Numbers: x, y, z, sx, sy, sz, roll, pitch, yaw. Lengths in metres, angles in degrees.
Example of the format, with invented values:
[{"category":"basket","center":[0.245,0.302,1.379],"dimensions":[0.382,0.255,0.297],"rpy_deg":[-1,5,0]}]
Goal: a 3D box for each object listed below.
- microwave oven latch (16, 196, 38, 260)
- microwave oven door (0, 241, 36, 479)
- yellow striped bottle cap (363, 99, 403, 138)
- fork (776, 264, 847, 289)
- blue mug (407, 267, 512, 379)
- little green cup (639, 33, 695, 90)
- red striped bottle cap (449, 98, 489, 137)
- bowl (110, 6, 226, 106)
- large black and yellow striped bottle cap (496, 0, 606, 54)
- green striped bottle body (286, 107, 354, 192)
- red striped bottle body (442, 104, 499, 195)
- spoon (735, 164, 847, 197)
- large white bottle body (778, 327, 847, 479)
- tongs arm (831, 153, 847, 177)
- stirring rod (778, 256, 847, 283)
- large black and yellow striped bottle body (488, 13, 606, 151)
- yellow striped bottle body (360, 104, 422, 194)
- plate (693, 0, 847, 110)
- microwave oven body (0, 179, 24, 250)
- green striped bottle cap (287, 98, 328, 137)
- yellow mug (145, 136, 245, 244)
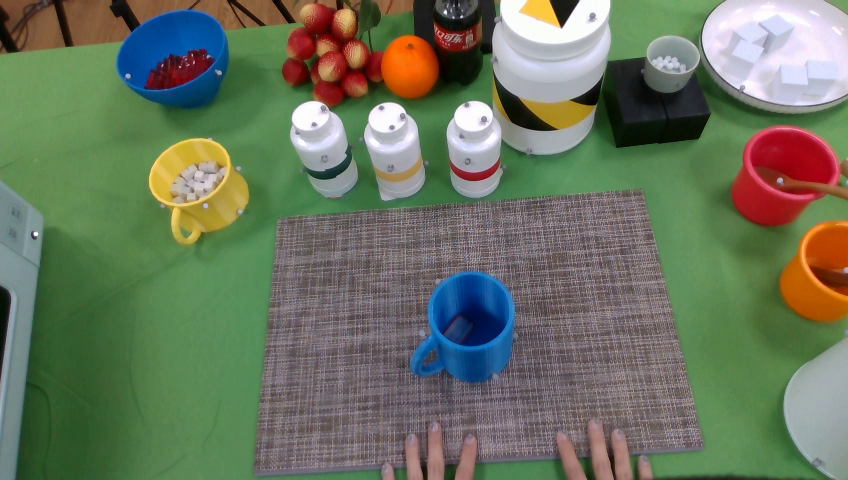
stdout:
[{"category":"microwave oven latch","center":[-0.494,-0.012,0.739],"dimensions":[0.030,0.030,0.078],"rpy_deg":[-12,63,-1]},{"category":"microwave oven door","center":[-0.461,0.128,0.548],"dimensions":[0.039,0.246,0.352],"rpy_deg":[-13,62,-1]},{"category":"yellow striped bottle cap","center":[-0.045,-0.136,0.675],"dimensions":[0.044,0.019,0.044],"rpy_deg":[0,59,1]},{"category":"fork","center":[0.454,0.024,0.586],"dimensions":[0.206,0.019,0.028],"rpy_deg":[-17,47,49]},{"category":"blue mug","center":[0.032,0.095,0.611],"dimensions":[0.116,0.107,0.081],"rpy_deg":[-33,63,-11]},{"category":"little green cup","center":[0.291,-0.214,0.731],"dimensions":[0.061,0.039,0.061],"rpy_deg":[-1,60,2]},{"category":"red striped bottle cap","center":[0.050,-0.135,0.665],"dimensions":[0.044,0.018,0.044],"rpy_deg":[0,61,1]},{"category":"bowl","center":[-0.340,-0.241,0.842],"dimensions":[0.151,0.077,0.150],"rpy_deg":[-2,62,4]},{"category":"large black and yellow striped bottle cap","center":[0.133,-0.247,0.641],"dimensions":[0.115,0.019,0.114],"rpy_deg":[-3,64,7]},{"category":"green striped bottle body","center":[-0.126,-0.114,0.731],"dimensions":[0.063,0.120,0.062],"rpy_deg":[-2,62,4]},{"category":"red striped bottle body","center":[0.056,-0.110,0.711],"dimensions":[0.063,0.121,0.062],"rpy_deg":[-4,61,7]},{"category":"spoon","center":[0.405,-0.058,0.637],"dimensions":[0.041,0.192,0.022],"rpy_deg":[-21,107,-9]},{"category":"large white bottle body","center":[0.405,0.130,0.515],"dimensions":[0.130,0.186,0.129],"rpy_deg":[-2,62,5]},{"category":"tongs arm","center":[0.619,0.018,0.638],"dimensions":[0.051,0.027,0.381],"rpy_deg":[-37,66,-17]},{"category":"stirring rod","center":[0.425,0.040,0.587],"dimensions":[0.014,0.006,0.174],"rpy_deg":[-28,21,-14]},{"category":"large black and yellow striped bottle body","center":[0.141,-0.208,0.718],"dimensions":[0.131,0.185,0.129],"rpy_deg":[-2,62,5]},{"category":"yellow striped bottle body","center":[-0.039,-0.112,0.721],"dimensions":[0.063,0.121,0.062],"rpy_deg":[-3,61,5]},{"category":"plate","center":[0.457,-0.249,0.791],"dimensions":[0.209,0.038,0.207],"rpy_deg":[-2,63,4]},{"category":"microwave oven body","center":[-0.611,0.127,0.569],"dimensions":[0.326,0.262,0.437],"rpy_deg":[-13,63,-2]},{"category":"green striped bottle cap","center":[-0.132,-0.139,0.685],"dimensions":[0.044,0.020,0.044],"rpy_deg":[-1,63,2]},{"category":"yellow mug","center":[-0.285,-0.057,0.747],"dimensions":[0.100,0.064,0.130],"rpy_deg":[4,64,8]}]
